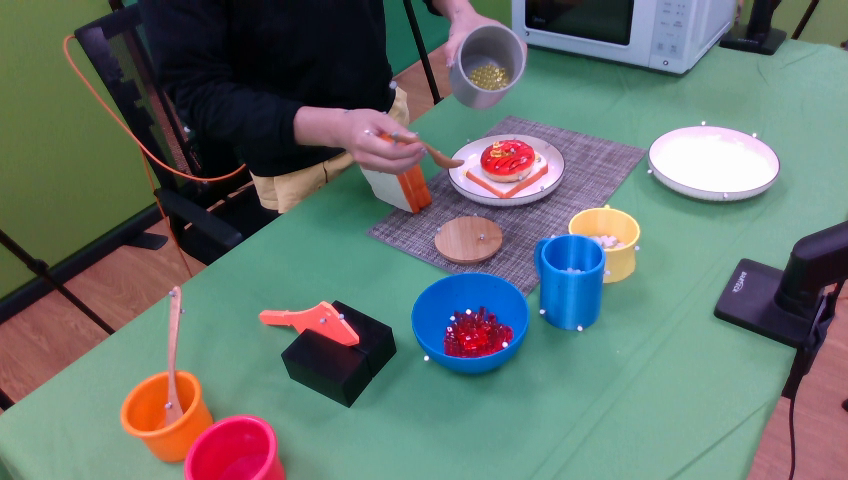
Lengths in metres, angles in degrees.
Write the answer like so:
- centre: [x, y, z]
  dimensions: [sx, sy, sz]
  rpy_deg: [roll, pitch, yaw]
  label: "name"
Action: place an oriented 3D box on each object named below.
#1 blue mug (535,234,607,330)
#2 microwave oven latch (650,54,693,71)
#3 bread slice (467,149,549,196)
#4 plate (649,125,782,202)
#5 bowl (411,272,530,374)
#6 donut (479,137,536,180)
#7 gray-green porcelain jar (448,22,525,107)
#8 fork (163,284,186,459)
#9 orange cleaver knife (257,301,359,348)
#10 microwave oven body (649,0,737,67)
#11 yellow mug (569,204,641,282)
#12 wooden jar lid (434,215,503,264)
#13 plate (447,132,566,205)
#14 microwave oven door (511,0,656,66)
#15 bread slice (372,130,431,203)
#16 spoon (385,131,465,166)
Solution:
- centre: [0.190, 0.048, 0.824]
  dimensions: [0.082, 0.106, 0.115]
  rpy_deg: [-26, 44, -20]
  label: "blue mug"
- centre: [0.531, -0.386, 1.301]
  dimensions: [0.078, 0.029, 0.030]
  rpy_deg: [26, 51, 33]
  label: "microwave oven latch"
- centre: [0.156, -0.128, 1.085]
  dimensions: [0.132, 0.019, 0.104]
  rpy_deg: [-35, 48, -23]
  label: "bread slice"
- centre: [0.493, -0.127, 1.036]
  dimensions: [0.207, 0.039, 0.206]
  rpy_deg: [-4, 41, 4]
  label: "plate"
- centre: [0.062, 0.120, 0.780]
  dimensions: [0.151, 0.077, 0.150]
  rpy_deg: [-4, 40, 4]
  label: "bowl"
- centre: [0.145, -0.144, 1.056]
  dimensions: [0.099, 0.048, 0.098]
  rpy_deg: [-6, 43, 6]
  label: "donut"
- centre: [0.096, -0.275, 0.973]
  dimensions: [0.106, 0.106, 0.126]
  rpy_deg: [-13, 1, -6]
  label: "gray-green porcelain jar"
- centre: [-0.302, 0.157, 0.733]
  dimensions: [0.028, 0.019, 0.207]
  rpy_deg: [-3, 84, 14]
  label: "fork"
- centre: [-0.160, 0.115, 0.813]
  dimensions: [0.210, 0.077, 0.012]
  rpy_deg: [-9, 29, 48]
  label: "orange cleaver knife"
- centre: [0.475, -0.602, 1.411]
  dimensions: [0.438, 0.261, 0.327]
  rpy_deg: [23, 50, 32]
  label: "microwave oven body"
- centre: [0.268, -0.005, 0.904]
  dimensions: [0.099, 0.064, 0.130]
  rpy_deg: [7, 41, 15]
  label: "yellow mug"
- centre: [0.070, 0.001, 0.956]
  dimensions: [0.108, 0.021, 0.108]
  rpy_deg: [-5, 40, 4]
  label: "wooden jar lid"
- centre: [0.146, -0.124, 1.076]
  dimensions: [0.209, 0.038, 0.208]
  rpy_deg: [-4, 41, 4]
  label: "plate"
- centre: [0.351, -0.539, 1.348]
  dimensions: [0.353, 0.245, 0.039]
  rpy_deg: [24, 50, 31]
  label: "microwave oven door"
- centre: [-0.042, -0.128, 1.039]
  dimensions: [0.106, 0.135, 0.018]
  rpy_deg: [30, 63, 33]
  label: "bread slice"
- centre: [0.002, -0.125, 0.818]
  dimensions: [0.041, 0.195, 0.021]
  rpy_deg: [7, 87, 31]
  label: "spoon"
